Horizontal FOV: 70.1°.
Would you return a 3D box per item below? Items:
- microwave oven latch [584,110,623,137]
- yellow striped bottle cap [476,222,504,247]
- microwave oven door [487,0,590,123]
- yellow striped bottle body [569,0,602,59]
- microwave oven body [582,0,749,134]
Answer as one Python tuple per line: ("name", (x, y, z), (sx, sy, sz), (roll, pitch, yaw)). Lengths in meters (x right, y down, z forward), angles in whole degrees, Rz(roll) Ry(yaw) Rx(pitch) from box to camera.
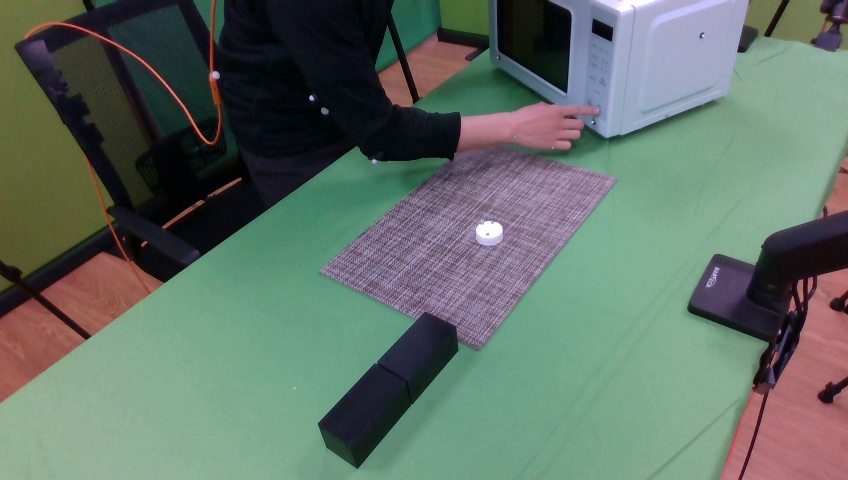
("microwave oven latch", (0.337, -0.222, 1.142), (0.030, 0.029, 0.078), (-21, 42, -14))
("yellow striped bottle cap", (0.105, -0.010, 0.966), (0.044, 0.019, 0.044), (-4, 39, 3))
("microwave oven door", (0.231, -0.419, 1.230), (0.039, 0.245, 0.352), (-22, 42, -16))
("yellow striped bottle body", (0.338, -0.448, 1.266), (0.063, 0.121, 0.062), (-5, 45, 6))
("microwave oven body", (0.382, -0.444, 1.246), (0.327, 0.261, 0.437), (-22, 42, -16))
